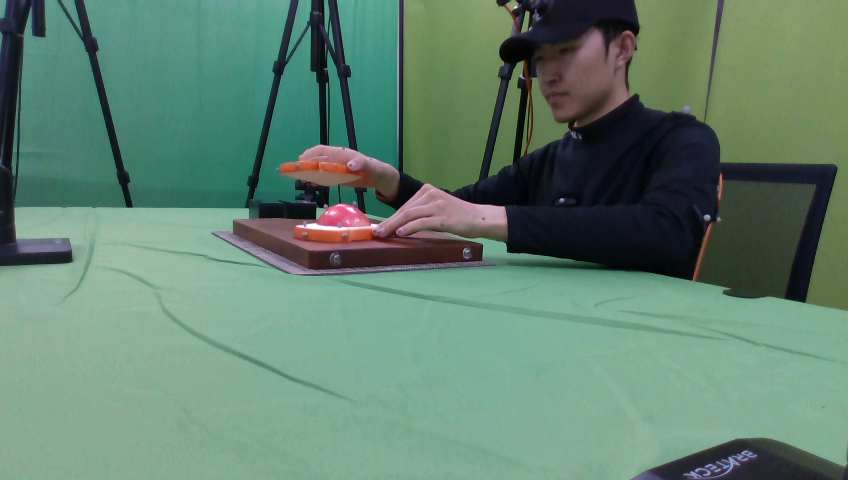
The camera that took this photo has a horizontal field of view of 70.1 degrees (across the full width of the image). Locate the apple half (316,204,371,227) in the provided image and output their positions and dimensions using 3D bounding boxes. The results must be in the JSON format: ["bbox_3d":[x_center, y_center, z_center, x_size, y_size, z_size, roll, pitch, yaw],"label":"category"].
[{"bbox_3d":[-0.116,-0.037,0.893,0.081,0.033,0.081,1,6,0],"label":"apple half"}]

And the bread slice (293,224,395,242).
[{"bbox_3d":[-0.121,-0.013,0.882,0.104,0.019,0.132,5,7,33],"label":"bread slice"}]

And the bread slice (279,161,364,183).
[{"bbox_3d":[-0.187,-0.121,1.077,0.106,0.018,0.135,-3,-5,36],"label":"bread slice"}]
